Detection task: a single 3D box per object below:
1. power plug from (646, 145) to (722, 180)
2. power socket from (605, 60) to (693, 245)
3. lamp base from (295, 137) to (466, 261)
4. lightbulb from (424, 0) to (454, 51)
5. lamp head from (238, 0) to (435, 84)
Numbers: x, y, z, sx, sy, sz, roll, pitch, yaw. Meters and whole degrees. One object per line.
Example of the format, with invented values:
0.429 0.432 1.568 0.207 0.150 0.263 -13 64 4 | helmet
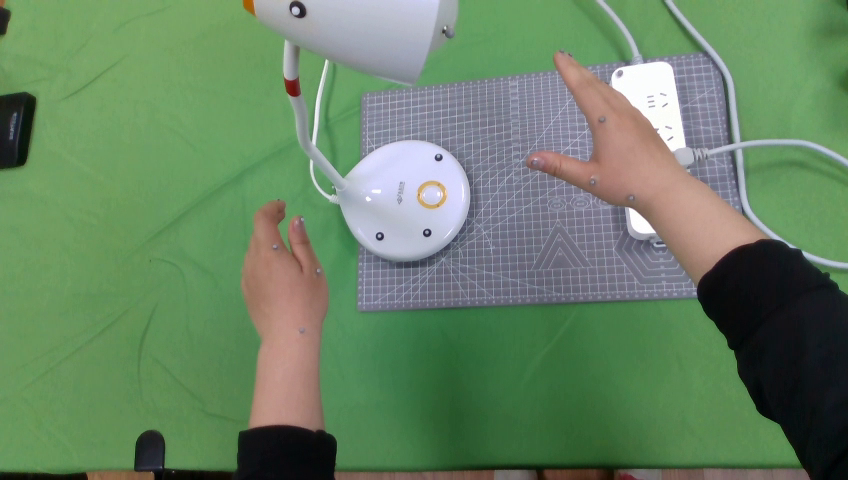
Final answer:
0.284 -0.083 0.669 0.072 0.053 0.035 6 78 11 | power plug
0.258 -0.107 0.701 0.072 0.033 0.225 -5 74 10 | power socket
-0.056 -0.070 0.682 0.179 0.181 0.159 -8 74 13 | lamp base
-0.033 -0.159 0.393 0.108 0.059 0.059 12 77 -12 | lightbulb
-0.058 -0.164 0.394 0.123 0.112 0.112 4 75 -9 | lamp head
